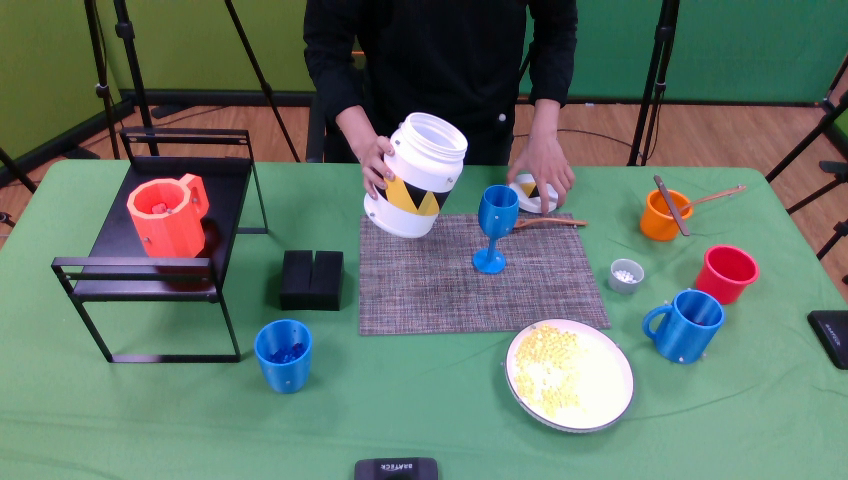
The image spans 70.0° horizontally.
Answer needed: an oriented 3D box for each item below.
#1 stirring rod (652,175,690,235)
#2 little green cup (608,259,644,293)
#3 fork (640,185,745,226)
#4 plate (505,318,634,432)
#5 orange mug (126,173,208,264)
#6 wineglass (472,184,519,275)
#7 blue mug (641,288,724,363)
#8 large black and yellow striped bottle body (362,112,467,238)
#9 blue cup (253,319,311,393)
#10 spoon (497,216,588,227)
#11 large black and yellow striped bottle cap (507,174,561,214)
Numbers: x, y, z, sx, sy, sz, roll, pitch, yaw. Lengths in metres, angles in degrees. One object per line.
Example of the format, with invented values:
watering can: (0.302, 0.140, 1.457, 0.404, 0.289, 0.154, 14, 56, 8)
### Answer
stirring rod: (0.492, -0.072, 1.211, 0.014, 0.006, 0.175, -1, 46, -6)
little green cup: (0.379, 0.070, 1.147, 0.061, 0.039, 0.061, 3, 45, -3)
fork: (0.534, -0.069, 1.215, 0.207, 0.019, 0.028, -26, 28, 33)
plate: (0.235, 0.221, 0.991, 0.209, 0.038, 0.208, 2, 45, -2)
orange mug: (-0.371, -0.040, 0.902, 0.083, 0.101, 0.126, 18, 52, 13)
wineglass: (0.129, -0.018, 1.113, 0.074, 0.173, 0.073, 2, 46, -2)
blue mug: (0.432, 0.144, 1.033, 0.116, 0.106, 0.082, 8, 46, 4)
large black and yellow striped bottle body: (-0.015, -0.110, 1.024, 0.131, 0.184, 0.130, 20, 33, -14)
blue cup: (-0.217, 0.187, 0.943, 0.093, 0.101, 0.092, 4, 45, -3)
spoon: (0.246, -0.039, 1.247, 0.194, 0.022, 0.041, -1, 25, -6)
large black and yellow striped bottle cap: (0.238, -0.101, 1.310, 0.115, 0.019, 0.114, 5, 43, -5)
